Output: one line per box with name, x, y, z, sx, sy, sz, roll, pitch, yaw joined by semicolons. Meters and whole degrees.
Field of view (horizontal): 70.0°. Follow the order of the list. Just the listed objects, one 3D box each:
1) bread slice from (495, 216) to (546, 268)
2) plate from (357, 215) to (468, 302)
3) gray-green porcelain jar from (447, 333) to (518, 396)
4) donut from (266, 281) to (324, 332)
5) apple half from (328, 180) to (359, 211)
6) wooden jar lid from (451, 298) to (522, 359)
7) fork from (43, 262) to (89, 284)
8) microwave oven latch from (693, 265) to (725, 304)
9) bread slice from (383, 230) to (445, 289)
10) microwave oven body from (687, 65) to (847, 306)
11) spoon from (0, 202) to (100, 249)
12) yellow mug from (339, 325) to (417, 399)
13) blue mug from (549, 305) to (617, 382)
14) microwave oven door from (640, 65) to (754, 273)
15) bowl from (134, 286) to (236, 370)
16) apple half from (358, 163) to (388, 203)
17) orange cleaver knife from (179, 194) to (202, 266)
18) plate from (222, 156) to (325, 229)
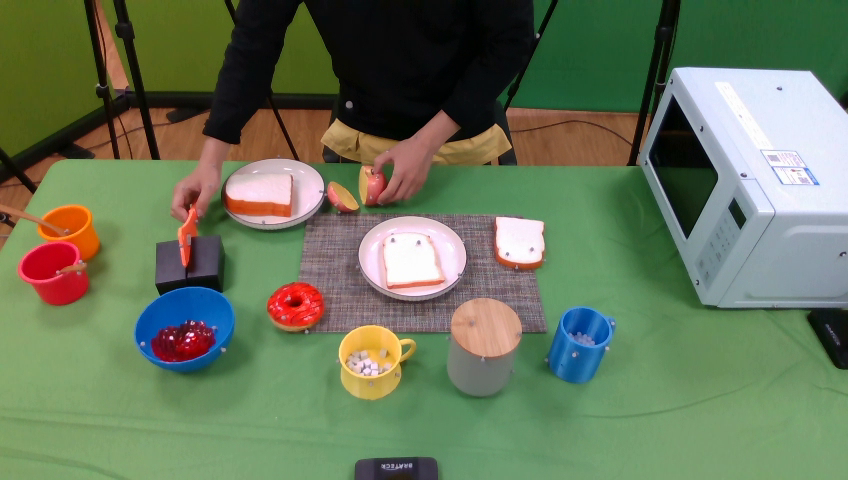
bread slice;0.194;0.002;1.205;0.105;0.019;0.131;5;45;2
plate;-0.022;0.037;1.141;0.208;0.039;0.206;2;46;-2
gray-green porcelain jar;0.091;0.178;0.960;0.106;0.127;0.105;2;46;-2
donut;-0.222;0.114;1.049;0.099;0.048;0.098;2;46;-2
apple half;-0.171;-0.083;1.247;0.033;0.082;0.080;-39;50;14
wooden jar lid;0.093;0.135;0.914;0.108;0.021;0.107;3;48;-3
fork;-0.599;0.053;1.014;0.207;0.019;0.028;-14;30;45
microwave oven latch;0.522;0.081;1.115;0.030;0.029;0.078;2;46;-1
bread slice;-0.028;0.035;1.145;0.107;0.018;0.133;-7;48;-12
microwave oven body;0.669;-0.111;1.176;0.326;0.261;0.439;0;46;-3
spoon;-0.683;-0.031;1.088;0.195;0.021;0.041;33;33;-38
yellow mug;-0.072;0.190;0.978;0.131;0.064;0.099;-17;50;-20
blue mug;0.269;0.165;0.997;0.116;0.106;0.082;-19;51;-21
microwave oven door;0.522;-0.147;1.193;0.039;0.245;0.353;0;47;-3
bowl;-0.377;0.156;0.981;0.151;0.077;0.150;2;46;-2
apple half;-0.103;-0.116;1.257;0.053;0.075;0.080;-1;39;-20
orange cleaver knife;-0.433;-0.023;1.136;0.012;0.077;0.210;-6;27;-8
plate;-0.308;-0.095;1.251;0.209;0.038;0.208;3;46;-3
